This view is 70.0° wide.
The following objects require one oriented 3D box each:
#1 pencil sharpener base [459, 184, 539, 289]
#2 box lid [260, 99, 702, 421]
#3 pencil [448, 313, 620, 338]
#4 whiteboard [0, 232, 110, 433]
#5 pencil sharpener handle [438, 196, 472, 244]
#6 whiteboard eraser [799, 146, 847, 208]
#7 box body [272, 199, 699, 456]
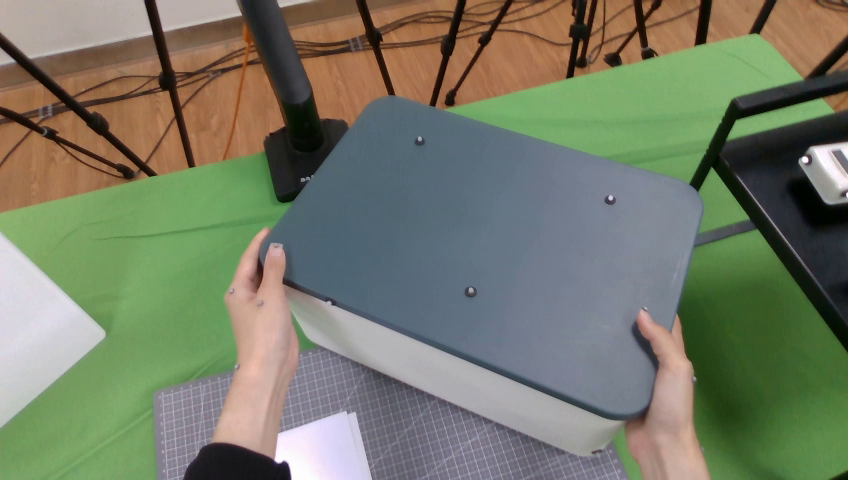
[{"bbox_3d":[0.082,-0.003,0.696,0.076,0.108,0.061,19,57,14],"label":"pencil sharpener base"},{"bbox_3d":[0.057,-0.009,0.579,0.370,0.015,0.262,20,57,14],"label":"box lid"},{"bbox_3d":[0.123,0.096,0.688,0.194,0.012,0.012,6,56,9],"label":"pencil"},{"bbox_3d":[-0.521,0.056,0.595,0.142,0.309,0.217,23,58,39],"label":"whiteboard"},{"bbox_3d":[0.033,-0.024,0.696,0.030,0.068,0.036,19,44,14],"label":"pencil sharpener handle"},{"bbox_3d":[0.411,-0.060,0.555,0.113,0.042,0.055,-7,57,-4],"label":"whiteboard eraser"},{"bbox_3d":[0.061,0.035,0.639,0.362,0.162,0.253,19,58,15],"label":"box body"}]
